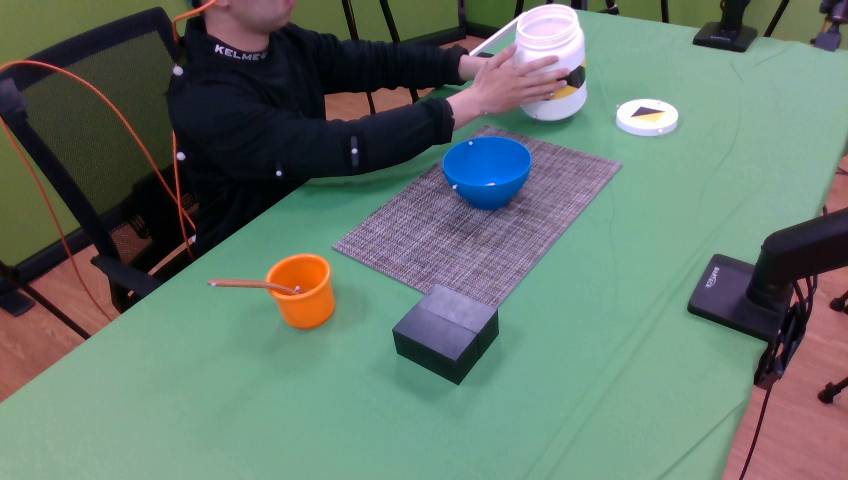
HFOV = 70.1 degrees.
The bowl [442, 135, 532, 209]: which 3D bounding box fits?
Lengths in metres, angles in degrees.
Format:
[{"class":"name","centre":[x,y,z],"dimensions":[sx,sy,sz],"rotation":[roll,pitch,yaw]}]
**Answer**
[{"class":"bowl","centre":[0.108,-0.106,1.026],"dimensions":[0.151,0.077,0.150],"rotation":[-4,41,4]}]

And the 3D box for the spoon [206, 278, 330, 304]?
[{"class":"spoon","centre":[-0.207,0.066,0.824],"dimensions":[0.041,0.195,0.021],"rotation":[34,100,41]}]

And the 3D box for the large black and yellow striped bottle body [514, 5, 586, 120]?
[{"class":"large black and yellow striped bottle body","centre":[0.243,-0.339,1.163],"dimensions":[0.130,0.185,0.130],"rotation":[-8,50,10]}]

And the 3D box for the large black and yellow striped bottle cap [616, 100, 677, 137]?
[{"class":"large black and yellow striped bottle cap","centre":[0.438,-0.241,1.190],"dimensions":[0.115,0.019,0.114],"rotation":[-4,42,4]}]
